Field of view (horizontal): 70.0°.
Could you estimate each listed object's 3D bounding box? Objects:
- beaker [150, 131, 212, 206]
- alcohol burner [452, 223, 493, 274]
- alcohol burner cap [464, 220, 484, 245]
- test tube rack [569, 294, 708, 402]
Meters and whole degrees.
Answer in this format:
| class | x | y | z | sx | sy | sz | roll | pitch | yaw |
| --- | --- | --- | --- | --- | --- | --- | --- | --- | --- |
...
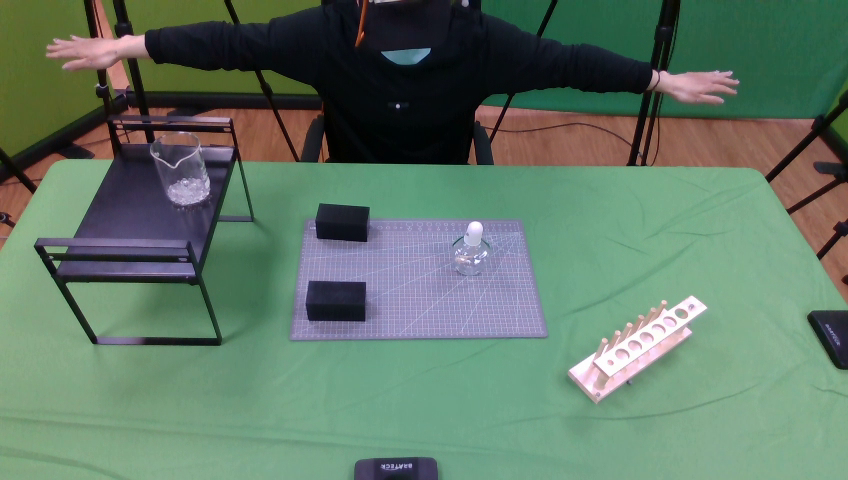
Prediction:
| class | x | y | z | sx | sy | sz | roll | pitch | yaw |
| --- | --- | --- | --- | --- | --- | --- | --- | --- | --- |
| beaker | -0.385 | -0.110 | 0.969 | 0.074 | 0.101 | 0.083 | -6 | 48 | -9 |
| alcohol burner | 0.091 | 0.008 | 1.124 | 0.078 | 0.120 | 0.077 | 2 | 48 | -2 |
| alcohol burner cap | 0.092 | -0.016 | 1.098 | 0.034 | 0.048 | 0.033 | 5 | 50 | -6 |
| test tube rack | 0.360 | 0.167 | 1.015 | 0.242 | 0.085 | 0.066 | -25 | 52 | -25 |
